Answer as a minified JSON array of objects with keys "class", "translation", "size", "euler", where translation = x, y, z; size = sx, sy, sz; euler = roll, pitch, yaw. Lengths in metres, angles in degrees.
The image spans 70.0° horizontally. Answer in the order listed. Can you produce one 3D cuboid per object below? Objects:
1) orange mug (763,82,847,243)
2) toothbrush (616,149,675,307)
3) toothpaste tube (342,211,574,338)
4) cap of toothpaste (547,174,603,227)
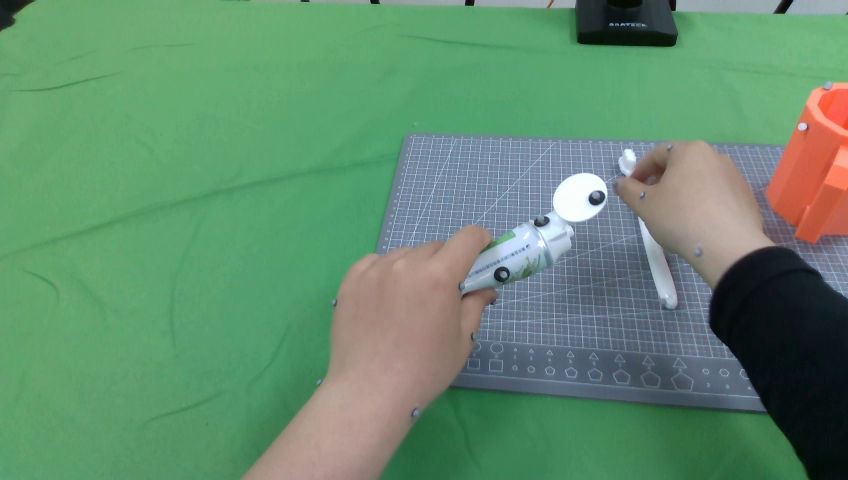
[{"class":"orange mug","translation":[0.336,-0.058,0.494],"size":[0.083,0.102,0.126],"euler":[25,48,26]},{"class":"toothbrush","translation":[0.189,-0.017,0.520],"size":[0.014,0.017,0.180],"euler":[7,47,-5]},{"class":"toothpaste tube","translation":[0.025,0.028,0.402],"size":[0.165,0.055,0.034],"euler":[-27,72,1]},{"class":"cap of toothpaste","translation":[0.097,-0.024,0.385],"size":[0.037,0.011,0.037],"euler":[-18,55,28]}]
